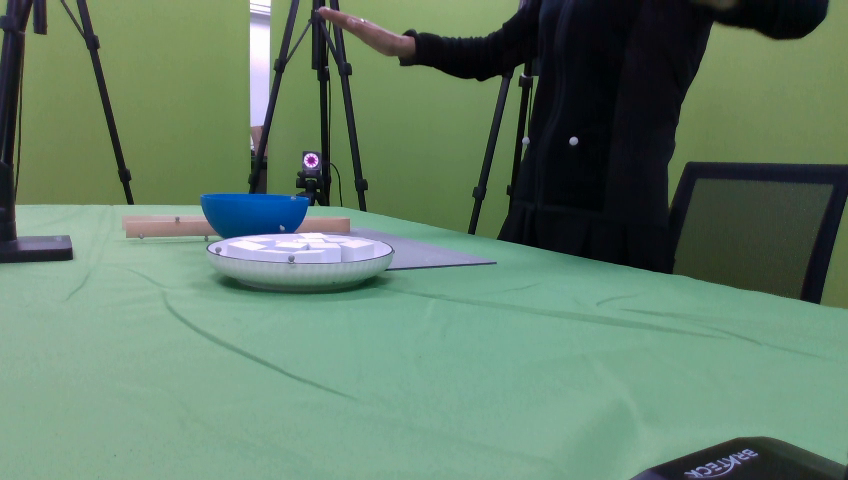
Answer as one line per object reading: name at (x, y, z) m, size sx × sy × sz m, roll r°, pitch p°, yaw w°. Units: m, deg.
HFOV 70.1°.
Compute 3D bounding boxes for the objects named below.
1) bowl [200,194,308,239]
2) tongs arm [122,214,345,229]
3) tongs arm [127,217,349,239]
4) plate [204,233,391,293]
bowl at (-0.245, -0.025, 0.879) m, size 0.151 × 0.077 × 0.151 m, roll 2°, pitch 7°, yaw 0°
tongs arm at (-0.336, -0.032, 1.103) m, size 0.389 × 0.027 × 0.028 m, roll 0°, pitch 1°, yaw -19°
tongs arm at (-0.295, -0.022, 1.027) m, size 0.387 × 0.026 × 0.050 m, roll -2°, pitch 5°, yaw -34°
plate at (-0.143, 0.025, 0.697) m, size 0.208 × 0.039 × 0.207 m, roll 3°, pitch 9°, yaw 0°
